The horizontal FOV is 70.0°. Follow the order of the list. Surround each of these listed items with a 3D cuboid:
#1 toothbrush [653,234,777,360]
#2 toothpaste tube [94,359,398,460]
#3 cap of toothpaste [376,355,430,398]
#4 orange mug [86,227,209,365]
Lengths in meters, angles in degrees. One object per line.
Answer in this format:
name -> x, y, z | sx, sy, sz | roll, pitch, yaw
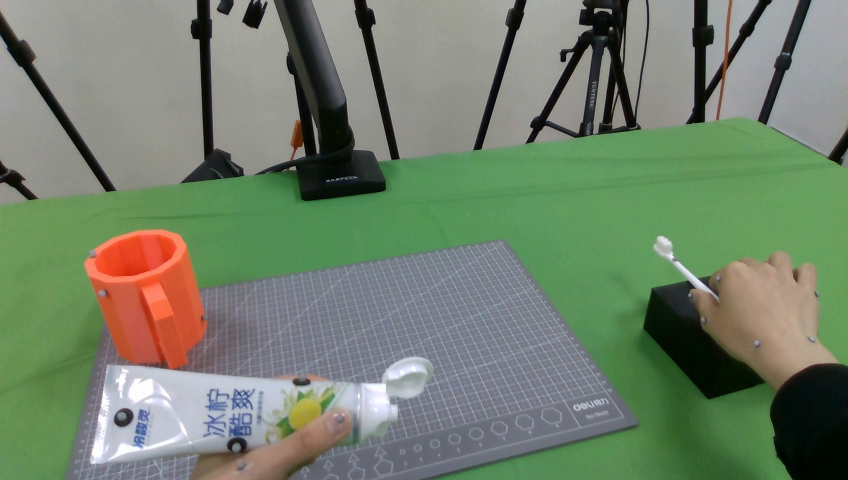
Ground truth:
toothbrush -> 0.265, 0.046, 0.564 | 0.014, 0.017, 0.180 | -5, 33, -12
toothpaste tube -> -0.097, 0.096, 0.351 | 0.165, 0.035, 0.054 | 2, 60, -12
cap of toothpaste -> -0.012, 0.088, 0.383 | 0.037, 0.037, 0.011 | -12, 41, -16
orange mug -> -0.249, 0.057, 0.563 | 0.083, 0.101, 0.125 | -21, 34, -28
